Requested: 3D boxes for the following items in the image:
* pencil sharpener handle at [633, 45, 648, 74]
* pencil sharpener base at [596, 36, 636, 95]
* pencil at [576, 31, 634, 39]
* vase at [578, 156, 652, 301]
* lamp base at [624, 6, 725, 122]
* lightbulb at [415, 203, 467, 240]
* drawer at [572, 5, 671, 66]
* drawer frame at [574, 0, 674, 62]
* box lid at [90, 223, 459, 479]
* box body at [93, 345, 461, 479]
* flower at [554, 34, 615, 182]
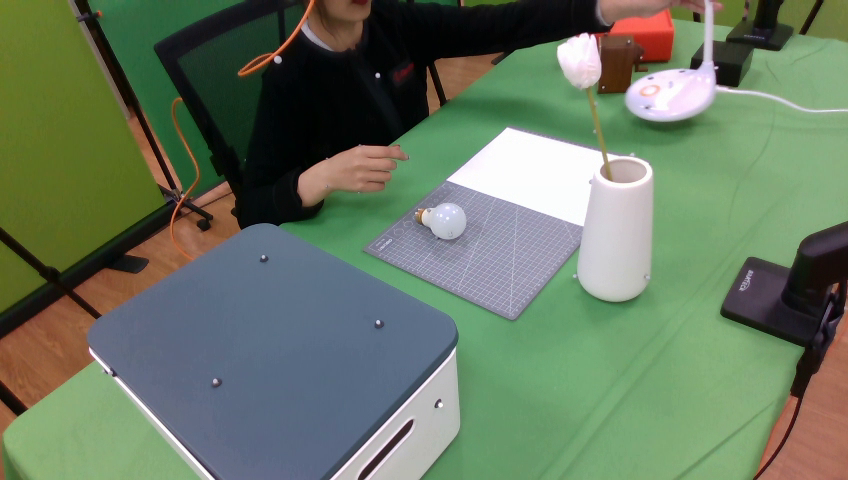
[{"bbox_3d":[0.454,-0.378,1.262,0.030,0.068,0.036,1,46,13],"label":"pencil sharpener handle"},{"bbox_3d":[0.406,-0.369,1.280,0.076,0.107,0.061,1,41,12],"label":"pencil sharpener base"},{"bbox_3d":[0.431,-0.488,1.443,0.012,0.012,0.192,-25,30,-18],"label":"pencil"},{"bbox_3d":[0.261,-0.011,0.812,0.098,0.201,0.097,-4,40,4],"label":"vase"},{"bbox_3d":[0.458,-0.332,1.102,0.179,0.181,0.160,-5,43,12],"label":"lamp base"},{"bbox_3d":[0.024,-0.034,0.999,0.060,0.060,0.107,-38,32,-30],"label":"lightbulb"},{"bbox_3d":[0.461,-0.489,1.435,0.211,0.073,0.194,2,41,12],"label":"drawer"},{"bbox_3d":[0.464,-0.492,1.434,0.213,0.083,0.201,1,40,12],"label":"drawer frame"},{"bbox_3d":[-0.174,0.102,0.666,0.368,0.015,0.264,24,48,35],"label":"box lid"},{"bbox_3d":[-0.162,0.170,0.708,0.361,0.161,0.255,25,50,34],"label":"box body"},{"bbox_3d":[0.237,-0.083,0.774,0.044,0.363,0.038,-22,26,7],"label":"flower"}]
